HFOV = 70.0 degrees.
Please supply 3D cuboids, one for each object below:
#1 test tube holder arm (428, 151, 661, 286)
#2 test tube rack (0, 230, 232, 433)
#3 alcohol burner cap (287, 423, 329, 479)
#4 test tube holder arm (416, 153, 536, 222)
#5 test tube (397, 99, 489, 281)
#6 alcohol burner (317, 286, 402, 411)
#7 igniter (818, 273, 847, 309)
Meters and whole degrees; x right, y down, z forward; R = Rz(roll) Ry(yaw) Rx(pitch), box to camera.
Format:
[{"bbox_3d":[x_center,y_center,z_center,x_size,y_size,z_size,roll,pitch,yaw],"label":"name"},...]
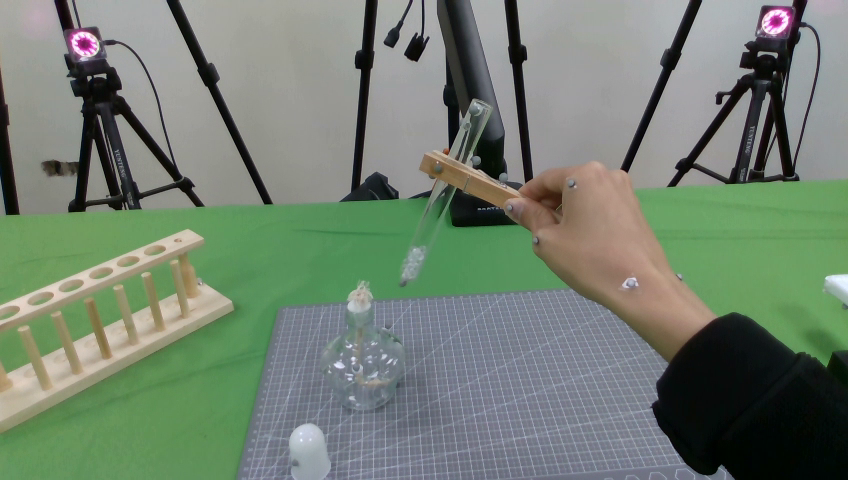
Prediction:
[{"bbox_3d":[0.076,-0.018,0.415,0.177,0.015,0.013,29,28,17],"label":"test tube holder arm"},{"bbox_3d":[-0.326,0.081,0.614,0.066,0.086,0.242,23,38,36],"label":"test tube rack"},{"bbox_3d":[-0.096,0.170,0.488,0.034,0.048,0.033,-1,30,1],"label":"alcohol burner cap"},{"bbox_3d":[0.036,-0.037,0.421,0.087,0.015,0.010,25,26,9],"label":"test tube holder arm"},{"bbox_3d":[0.011,-0.031,0.439,0.017,0.151,0.017,19,27,-10],"label":"test tube"},{"bbox_3d":[-0.059,0.094,0.546,0.078,0.120,0.077,-1,28,1],"label":"alcohol burner"},{"bbox_3d":[0.437,0.102,0.508,0.057,0.025,0.274,-4,26,-4],"label":"igniter"}]
